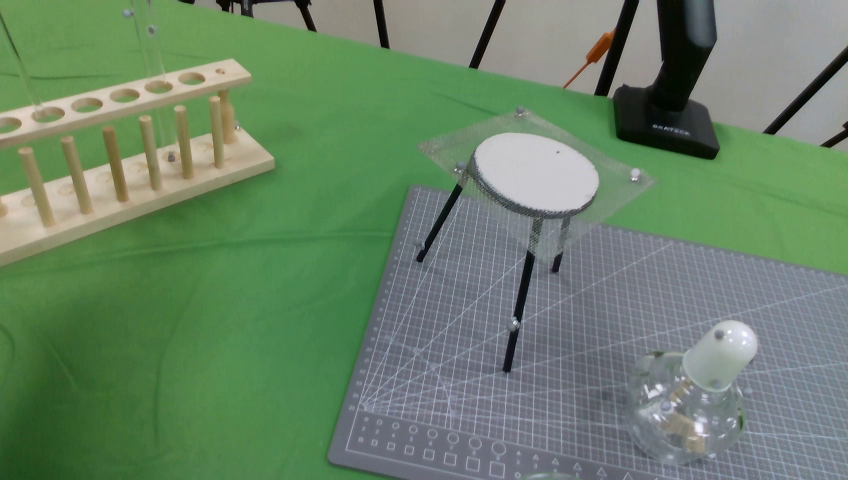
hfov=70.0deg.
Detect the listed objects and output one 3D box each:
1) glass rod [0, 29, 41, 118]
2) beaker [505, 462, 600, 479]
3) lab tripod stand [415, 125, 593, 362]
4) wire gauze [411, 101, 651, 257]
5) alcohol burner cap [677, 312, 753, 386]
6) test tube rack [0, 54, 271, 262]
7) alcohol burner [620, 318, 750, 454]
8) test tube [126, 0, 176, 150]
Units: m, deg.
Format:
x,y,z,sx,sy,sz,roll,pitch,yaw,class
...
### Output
x,y,z,sx,sy,sz,roll,pitch,yaw,class
-0.290,-0.155,0.397,0.008,0.201,0.008,3,47,-3,glass rod
0.052,0.169,0.303,0.084,0.101,0.073,5,43,-5,beaker
0.065,-0.004,0.456,0.149,0.132,0.147,7,45,-7,lab tripod stand
0.073,-0.052,0.410,0.121,0.011,0.124,-28,57,-33,wire gauze
0.181,0.065,0.371,0.034,0.048,0.033,5,47,-5,alcohol burner cap
-0.252,-0.076,0.503,0.242,0.086,0.066,-28,56,-34,test tube rack
0.175,0.089,0.397,0.078,0.120,0.077,7,43,-6,alcohol burner
-0.226,-0.141,0.503,0.017,0.151,0.017,4,40,-3,test tube
